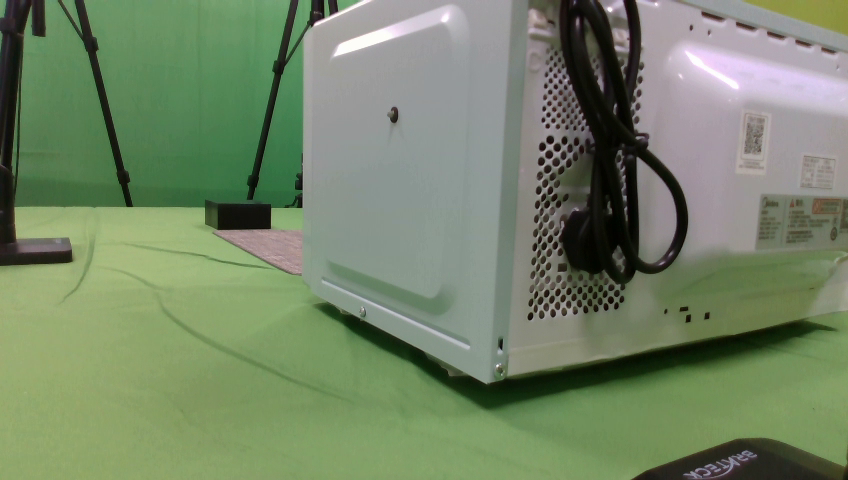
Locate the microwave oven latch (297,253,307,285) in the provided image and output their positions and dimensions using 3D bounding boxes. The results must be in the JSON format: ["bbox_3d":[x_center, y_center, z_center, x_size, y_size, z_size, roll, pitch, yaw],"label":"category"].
[{"bbox_3d":[-0.082,0.027,0.582,0.079,0.029,0.030,-1,7,-32],"label":"microwave oven latch"}]

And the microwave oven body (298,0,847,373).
[{"bbox_3d":[0.151,-0.055,0.543,0.444,0.260,0.324,-1,7,-33],"label":"microwave oven body"}]

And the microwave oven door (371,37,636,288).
[{"bbox_3d":[0.109,-0.080,0.686,0.358,0.243,0.039,-2,9,-33],"label":"microwave oven door"}]
